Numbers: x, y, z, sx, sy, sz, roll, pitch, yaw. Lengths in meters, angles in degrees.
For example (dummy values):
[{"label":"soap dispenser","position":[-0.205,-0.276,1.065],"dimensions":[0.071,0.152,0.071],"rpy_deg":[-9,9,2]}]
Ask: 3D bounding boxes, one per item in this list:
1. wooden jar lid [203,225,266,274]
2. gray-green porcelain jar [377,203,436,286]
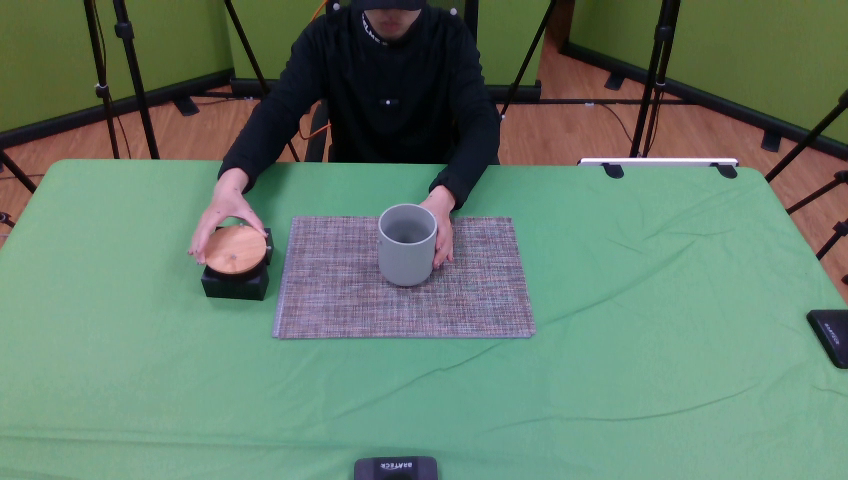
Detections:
[{"label":"wooden jar lid","position":[-0.337,0.019,1.083],"dimensions":[0.108,0.021,0.107],"rpy_deg":[4,49,-4]},{"label":"gray-green porcelain jar","position":[-0.033,0.014,1.106],"dimensions":[0.106,0.127,0.105],"rpy_deg":[2,46,-2]}]
